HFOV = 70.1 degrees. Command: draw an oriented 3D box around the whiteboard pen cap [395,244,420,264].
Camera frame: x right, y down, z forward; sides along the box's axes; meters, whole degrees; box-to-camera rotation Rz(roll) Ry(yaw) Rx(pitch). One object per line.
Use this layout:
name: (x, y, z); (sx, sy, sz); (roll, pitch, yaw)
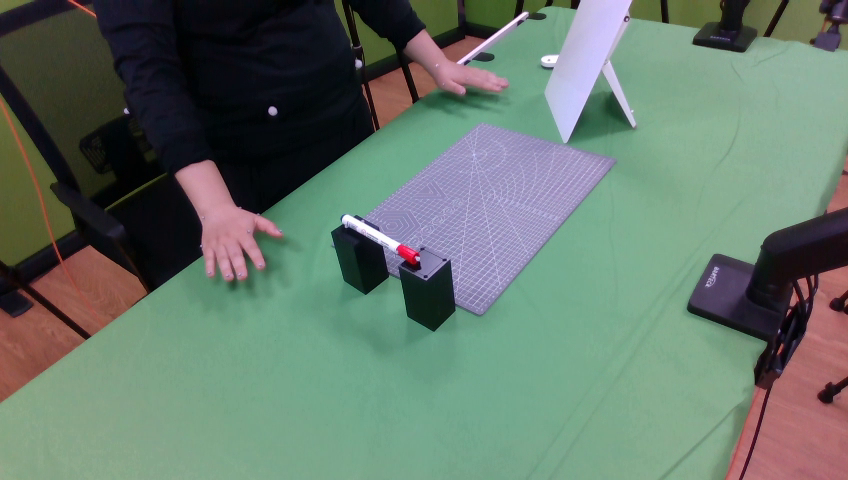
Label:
whiteboard pen cap: (-0.022, 0.018, 0.800); (0.032, 0.017, 0.017); (29, 52, 36)

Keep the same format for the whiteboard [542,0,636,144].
whiteboard: (0.366, -0.351, 1.160); (0.144, 0.305, 0.216); (10, 39, -10)

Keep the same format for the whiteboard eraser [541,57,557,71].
whiteboard eraser: (0.323, -0.412, 1.407); (0.101, 0.019, 0.041); (1, 42, 11)

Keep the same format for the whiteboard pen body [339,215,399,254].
whiteboard pen body: (-0.067, -0.004, 0.835); (0.139, 0.017, 0.017); (28, 51, 33)
